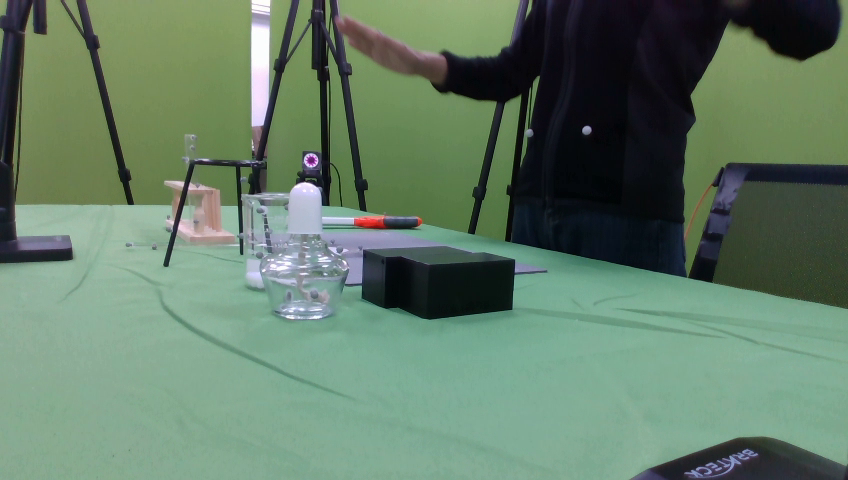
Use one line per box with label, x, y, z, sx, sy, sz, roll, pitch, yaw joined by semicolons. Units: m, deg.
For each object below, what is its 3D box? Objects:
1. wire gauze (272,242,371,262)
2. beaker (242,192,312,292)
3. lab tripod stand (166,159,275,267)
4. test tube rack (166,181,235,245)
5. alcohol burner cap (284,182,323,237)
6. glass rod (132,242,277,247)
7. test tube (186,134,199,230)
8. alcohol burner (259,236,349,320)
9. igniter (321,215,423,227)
wire gauze;-0.155;0.013;0.877;0.122;0.011;0.124;-3;10;-29
beaker;-0.157;0.000;0.642;0.084;0.100;0.074;4;7;19
lab tripod stand;-0.249;-0.036;0.764;0.148;0.131;0.148;2;9;0
test tube rack;-0.383;-0.051;1.024;0.067;0.085;0.241;-2;9;-31
alcohol burner cap;-0.105;-0.027;0.528;0.034;0.048;0.034;2;2;0
glass rod;-0.315;0.007;0.884;0.201;0.008;0.008;0;7;-27
test tube;-0.360;-0.089;0.946;0.017;0.150;0.017;0;10;0
alcohol burner;-0.106;0.009;0.532;0.078;0.119;0.078;1;8;0
igniter;-0.136;-0.040;1.240;0.278;0.025;0.057;0;-2;-22
